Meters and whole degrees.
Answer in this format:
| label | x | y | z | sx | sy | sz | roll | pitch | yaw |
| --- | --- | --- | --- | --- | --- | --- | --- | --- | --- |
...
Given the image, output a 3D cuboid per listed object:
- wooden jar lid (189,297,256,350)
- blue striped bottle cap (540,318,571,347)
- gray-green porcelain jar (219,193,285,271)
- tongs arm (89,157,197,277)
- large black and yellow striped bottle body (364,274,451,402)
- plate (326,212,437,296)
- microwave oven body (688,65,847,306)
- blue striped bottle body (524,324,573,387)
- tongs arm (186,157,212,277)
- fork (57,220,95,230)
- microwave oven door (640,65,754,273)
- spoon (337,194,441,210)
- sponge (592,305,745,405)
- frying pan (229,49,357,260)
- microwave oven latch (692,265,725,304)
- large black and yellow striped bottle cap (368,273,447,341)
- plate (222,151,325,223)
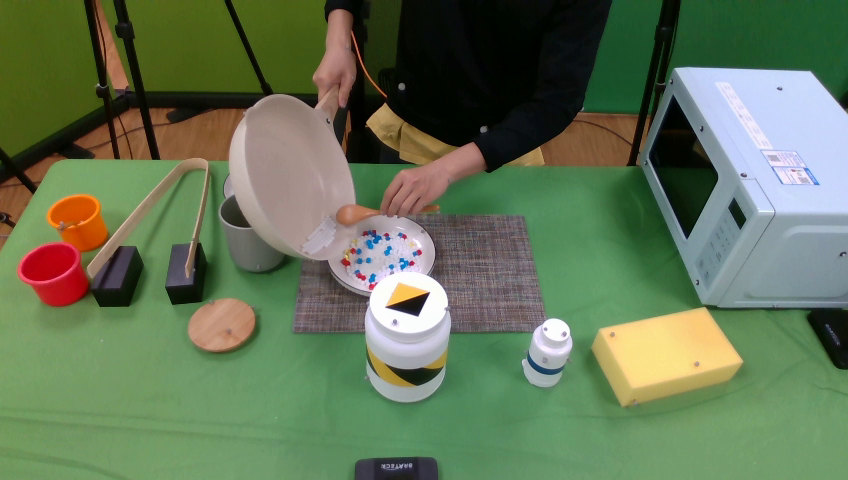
| label | x | y | z | sx | sy | sz | roll | pitch | yaw |
| --- | --- | --- | --- | --- | --- | --- | --- | --- | --- |
| wooden jar lid | -0.342 | 0.145 | 1.033 | 0.108 | 0.021 | 0.107 | 2 | 45 | -2 |
| blue striped bottle cap | 0.203 | 0.142 | 0.933 | 0.044 | 0.021 | 0.044 | 3 | 49 | -4 |
| gray-green porcelain jar | -0.310 | -0.014 | 1.113 | 0.106 | 0.127 | 0.105 | 2 | 47 | -2 |
| tongs arm | -0.530 | -0.058 | 1.163 | 0.028 | 0.028 | 0.385 | 1 | 36 | 7 |
| large black and yellow striped bottle body | -0.026 | 0.151 | 0.937 | 0.131 | 0.185 | 0.130 | 2 | 47 | -2 |
| plate | -0.080 | 0.030 | 1.143 | 0.209 | 0.038 | 0.208 | 2 | 46 | -2 |
| microwave oven body | 0.669 | -0.111 | 1.176 | 0.326 | 0.261 | 0.439 | 0 | 46 | -3 |
| blue striped bottle body | 0.200 | 0.178 | 0.970 | 0.063 | 0.121 | 0.062 | 2 | 46 | -2 |
| tongs arm | -0.445 | -0.058 | 1.168 | 0.051 | 0.026 | 0.382 | -4 | 37 | -6 |
| fork | -0.624 | -0.027 | 1.086 | 0.028 | 0.207 | 0.018 | -3 | 92 | -17 |
| microwave oven door | 0.523 | -0.147 | 1.193 | 0.039 | 0.245 | 0.353 | 0 | 47 | -3 |
| spoon | -0.065 | -0.065 | 1.122 | 0.194 | 0.022 | 0.041 | 4 | 43 | -1 |
| sponge | 0.405 | 0.190 | 1.014 | 0.207 | 0.061 | 0.117 | -10 | 48 | -12 |
| frying pan | -0.200 | -0.185 | 1.105 | 0.102 | 0.309 | 0.485 | -6 | 50 | 31 |
| microwave oven latch | 0.522 | 0.081 | 1.116 | 0.030 | 0.029 | 0.078 | 1 | 46 | -2 |
| large black and yellow striped bottle cap | -0.023 | 0.094 | 0.875 | 0.115 | 0.019 | 0.114 | 2 | 45 | -2 |
| plate | -0.310 | -0.106 | 1.263 | 0.208 | 0.039 | 0.206 | 2 | 47 | -2 |
